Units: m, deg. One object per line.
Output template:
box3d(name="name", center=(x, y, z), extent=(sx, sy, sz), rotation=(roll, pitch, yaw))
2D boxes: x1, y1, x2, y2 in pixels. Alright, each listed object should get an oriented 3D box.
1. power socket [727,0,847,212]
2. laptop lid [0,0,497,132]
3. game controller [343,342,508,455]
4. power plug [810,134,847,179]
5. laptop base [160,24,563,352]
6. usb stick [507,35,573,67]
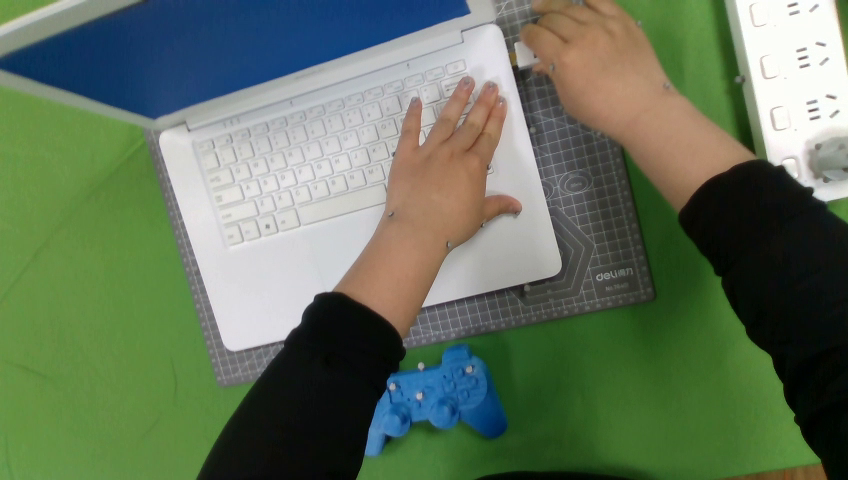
box3d(name="power socket", center=(0.300, -0.134, 0.492), extent=(0.072, 0.032, 0.227), rotation=(-12, 95, 13))
box3d(name="laptop lid", center=(-0.127, -0.156, 0.458), extent=(0.356, 0.242, 0.013), rotation=(-15, 86, 14))
box3d(name="game controller", center=(-0.004, 0.156, 0.582), extent=(0.155, 0.051, 0.097), rotation=(-13, 90, 12))
box3d(name="power plug", center=(0.343, -0.066, 0.474), extent=(0.072, 0.052, 0.035), rotation=(-2, 95, 7))
box3d(name="laptop base", center=(-0.067, -0.040, 0.584), extent=(0.354, 0.023, 0.236), rotation=(-15, 97, 12))
box3d(name="usb stick", center=(0.099, -0.165, 0.531), extent=(0.059, 0.027, 0.021), rotation=(-4, 98, 3))
